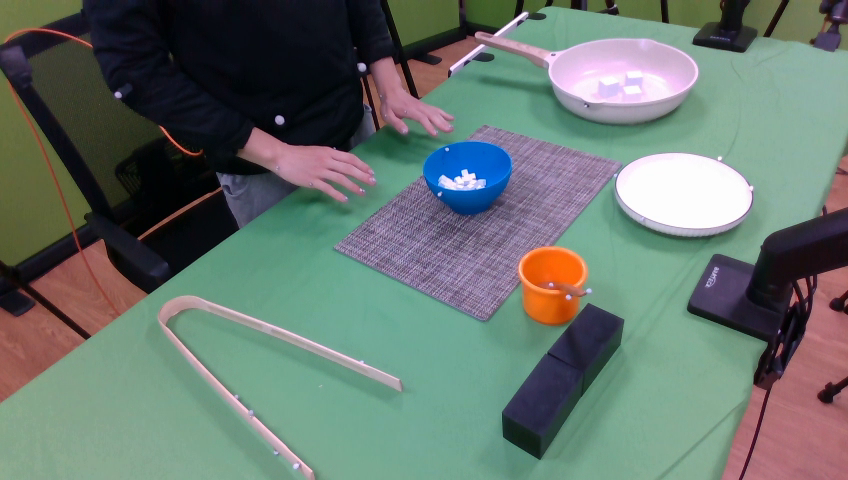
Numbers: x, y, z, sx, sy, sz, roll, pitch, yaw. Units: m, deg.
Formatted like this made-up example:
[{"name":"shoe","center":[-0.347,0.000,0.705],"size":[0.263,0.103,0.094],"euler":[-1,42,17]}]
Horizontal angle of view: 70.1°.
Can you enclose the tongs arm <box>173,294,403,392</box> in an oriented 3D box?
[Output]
[{"name":"tongs arm","center":[-0.198,0.137,0.833],"size":[0.385,0.028,0.028],"euler":[16,48,24]}]

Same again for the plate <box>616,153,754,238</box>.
[{"name":"plate","center":[0.416,-0.069,0.977],"size":[0.207,0.039,0.206],"euler":[-4,40,4]}]

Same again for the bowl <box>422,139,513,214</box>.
[{"name":"bowl","center":[0.075,-0.097,1.021],"size":[0.151,0.077,0.150],"euler":[-4,41,4]}]

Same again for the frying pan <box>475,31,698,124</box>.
[{"name":"frying pan","center":[0.320,-0.371,1.290],"size":[0.485,0.103,0.307],"euler":[28,50,23]}]

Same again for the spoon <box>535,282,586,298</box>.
[{"name":"spoon","center":[0.176,0.063,0.774],"size":[0.041,0.194,0.021],"euler":[-3,85,1]}]

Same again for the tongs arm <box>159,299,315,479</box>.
[{"name":"tongs arm","center":[-0.248,0.179,0.784],"size":[0.381,0.026,0.051],"euler":[26,49,34]}]
